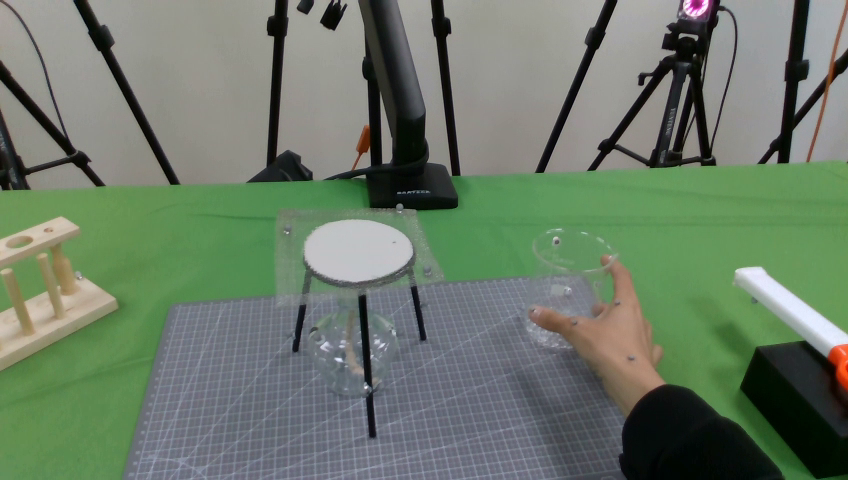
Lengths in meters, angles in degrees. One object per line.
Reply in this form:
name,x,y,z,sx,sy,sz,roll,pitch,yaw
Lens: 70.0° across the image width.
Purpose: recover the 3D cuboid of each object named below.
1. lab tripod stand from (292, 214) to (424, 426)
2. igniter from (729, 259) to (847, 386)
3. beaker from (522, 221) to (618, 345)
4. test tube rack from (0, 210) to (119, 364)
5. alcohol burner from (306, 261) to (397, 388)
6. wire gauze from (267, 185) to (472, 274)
lab tripod stand,-0.052,0.058,0.511,0.148,0.132,0.147,3,34,-2
igniter,0.351,0.093,0.501,0.057,0.025,0.273,-5,30,-10
beaker,0.136,0.043,0.579,0.084,0.101,0.073,-1,33,-4
test tube rack,-0.405,0.067,0.523,0.066,0.086,0.242,23,38,29
alcohol burner,-0.061,0.067,0.515,0.078,0.120,0.077,3,33,-2
wire gauze,-0.044,-0.010,0.463,0.125,0.011,0.120,-10,31,-31
